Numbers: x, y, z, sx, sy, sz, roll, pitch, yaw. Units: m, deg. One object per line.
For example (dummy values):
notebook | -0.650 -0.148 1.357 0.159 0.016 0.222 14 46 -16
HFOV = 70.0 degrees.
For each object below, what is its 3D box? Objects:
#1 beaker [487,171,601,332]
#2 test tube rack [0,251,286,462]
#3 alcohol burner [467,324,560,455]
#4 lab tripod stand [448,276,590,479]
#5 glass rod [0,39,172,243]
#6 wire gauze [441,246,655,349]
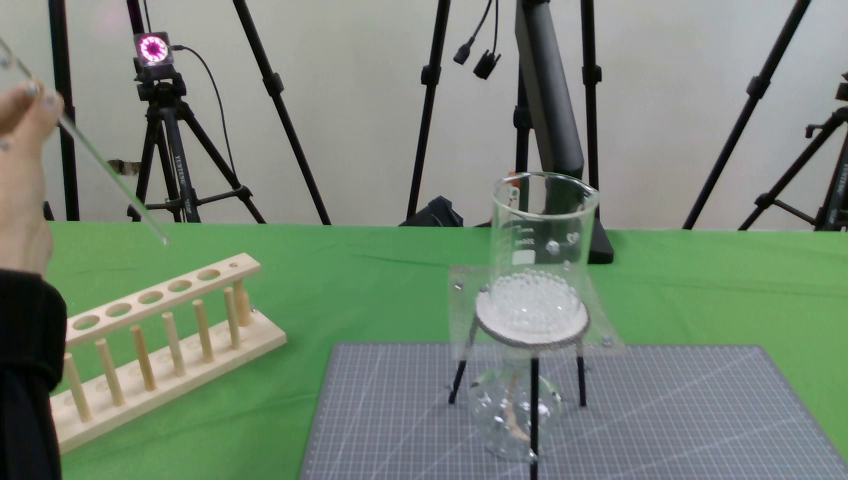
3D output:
beaker | 0.086 0.009 0.442 0.084 0.101 0.073 -10 32 -18
test tube rack | -0.258 0.098 0.576 0.243 0.086 0.066 -24 37 -36
alcohol burner | 0.075 0.118 0.502 0.078 0.120 0.077 1 29 0
lab tripod stand | 0.085 0.110 0.497 0.148 0.132 0.147 1 30 0
glass rod | -0.245 -0.067 0.442 0.008 0.202 0.008 -13 42 13
wire gauze | 0.088 0.040 0.453 0.125 0.011 0.120 -6 27 -19
